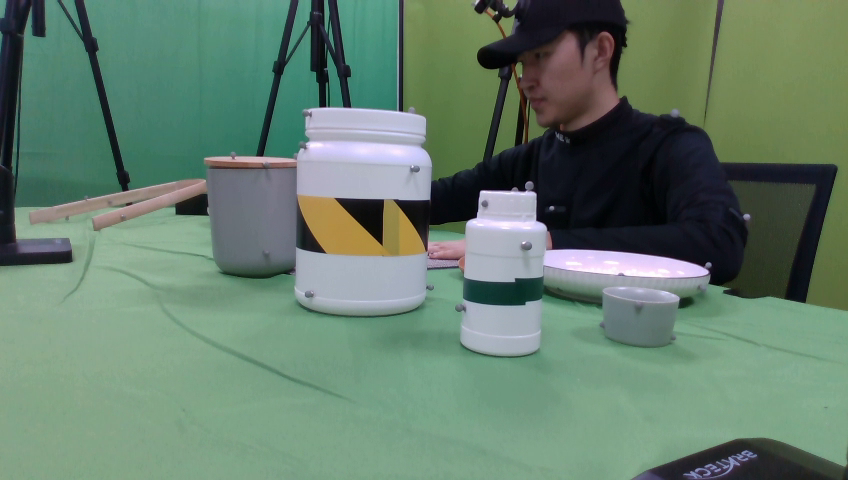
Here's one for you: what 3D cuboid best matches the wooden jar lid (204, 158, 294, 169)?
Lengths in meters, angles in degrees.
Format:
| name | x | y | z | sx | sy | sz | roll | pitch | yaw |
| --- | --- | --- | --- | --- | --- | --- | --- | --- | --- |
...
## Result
| name | x | y | z | sx | sy | sz | roll | pitch | yaw |
| --- | --- | --- | --- | --- | --- | --- | --- | --- | --- |
| wooden jar lid | -0.202 | -0.086 | 0.714 | 0.108 | 0.020 | 0.108 | 3 | 10 | 0 |

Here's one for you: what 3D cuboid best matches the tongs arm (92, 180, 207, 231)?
| name | x | y | z | sx | sy | sz | roll | pitch | yaw |
| --- | --- | --- | --- | --- | --- | --- | --- | --- | --- |
| tongs arm | -0.534 | -0.076 | 1.221 | 0.028 | 0.028 | 0.388 | -2 | 15 | 12 |

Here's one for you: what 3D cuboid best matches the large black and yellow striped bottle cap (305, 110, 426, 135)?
| name | x | y | z | sx | sy | sz | roll | pitch | yaw |
| --- | --- | --- | --- | --- | --- | --- | --- | --- | --- |
| large black and yellow striped bottle cap | -0.055 | -0.110 | 0.574 | 0.115 | 0.019 | 0.115 | 1 | 7 | 0 |

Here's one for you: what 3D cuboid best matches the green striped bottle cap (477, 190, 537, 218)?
| name | x | y | z | sx | sy | sz | roll | pitch | yaw |
| --- | --- | --- | --- | --- | --- | --- | --- | --- | --- |
| green striped bottle cap | 0.062 | -0.027 | 0.453 | 0.044 | 0.020 | 0.044 | 2 | 5 | 0 |

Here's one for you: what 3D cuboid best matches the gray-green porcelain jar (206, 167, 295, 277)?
| name | x | y | z | sx | sy | sz | roll | pitch | yaw |
| --- | --- | --- | --- | --- | --- | --- | --- | --- | --- |
| gray-green porcelain jar | -0.201 | -0.024 | 0.724 | 0.106 | 0.126 | 0.106 | -1 | 9 | 1 |

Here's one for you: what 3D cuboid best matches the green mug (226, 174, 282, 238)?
| name | x | y | z | sx | sy | sz | roll | pitch | yaw |
| --- | --- | --- | --- | --- | --- | --- | --- | --- | --- |
| green mug | -0.291 | -0.060 | 1.054 | 0.092 | 0.105 | 0.125 | 3 | 7 | 1 |

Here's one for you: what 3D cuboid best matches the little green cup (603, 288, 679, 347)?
| name | x | y | z | sx | sy | sz | roll | pitch | yaw |
| --- | --- | --- | --- | --- | --- | --- | --- | --- | --- |
| little green cup | 0.180 | 0.064 | 0.505 | 0.061 | 0.038 | 0.061 | 2 | 7 | 0 |

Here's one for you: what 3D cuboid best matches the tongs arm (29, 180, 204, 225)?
| name | x | y | z | sx | sy | sz | roll | pitch | yaw |
| --- | --- | --- | --- | --- | --- | --- | --- | --- | --- |
| tongs arm | -0.609 | -0.083 | 1.245 | 0.050 | 0.026 | 0.386 | 5 | 16 | 23 |

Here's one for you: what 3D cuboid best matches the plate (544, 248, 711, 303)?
| name | x | y | z | sx | sy | sz | roll | pitch | yaw |
| --- | --- | --- | --- | --- | --- | --- | --- | --- | --- |
| plate | 0.219 | 0.041 | 0.706 | 0.209 | 0.038 | 0.209 | 2 | 7 | 0 |

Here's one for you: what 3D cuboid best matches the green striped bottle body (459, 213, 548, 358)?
| name | x | y | z | sx | sy | sz | roll | pitch | yaw |
| --- | --- | --- | --- | --- | --- | --- | --- | --- | --- |
| green striped bottle body | 0.061 | 0.024 | 0.460 | 0.063 | 0.119 | 0.063 | 2 | 7 | 0 |

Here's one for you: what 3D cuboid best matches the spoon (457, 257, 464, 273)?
| name | x | y | z | sx | sy | sz | roll | pitch | yaw |
| --- | --- | --- | --- | --- | --- | --- | --- | --- | --- |
| spoon | 0.059 | 0.044 | 0.696 | 0.041 | 0.021 | 0.194 | 21 | 7 | 0 |

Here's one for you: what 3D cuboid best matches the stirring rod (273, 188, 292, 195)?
| name | x | y | z | sx | sy | sz | roll | pitch | yaw |
| --- | --- | --- | --- | --- | --- | --- | --- | --- | --- |
| stirring rod | -0.354 | -0.122 | 1.519 | 0.006 | 0.014 | 0.176 | 2 | 6 | 1 |

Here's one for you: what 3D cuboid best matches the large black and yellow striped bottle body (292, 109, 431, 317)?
| name | x | y | z | sx | sy | sz | roll | pitch | yaw |
| --- | --- | --- | --- | --- | --- | --- | --- | --- | --- |
| large black and yellow striped bottle body | -0.060 | -0.028 | 0.585 | 0.131 | 0.184 | 0.130 | 3 | 7 | 0 |

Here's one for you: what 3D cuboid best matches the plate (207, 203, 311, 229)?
| name | x | y | z | sx | sy | sz | roll | pitch | yaw |
| --- | --- | --- | --- | --- | --- | --- | --- | --- | --- |
| plate | -0.342 | -0.050 | 1.260 | 0.208 | 0.039 | 0.207 | 2 | 8 | 0 |
